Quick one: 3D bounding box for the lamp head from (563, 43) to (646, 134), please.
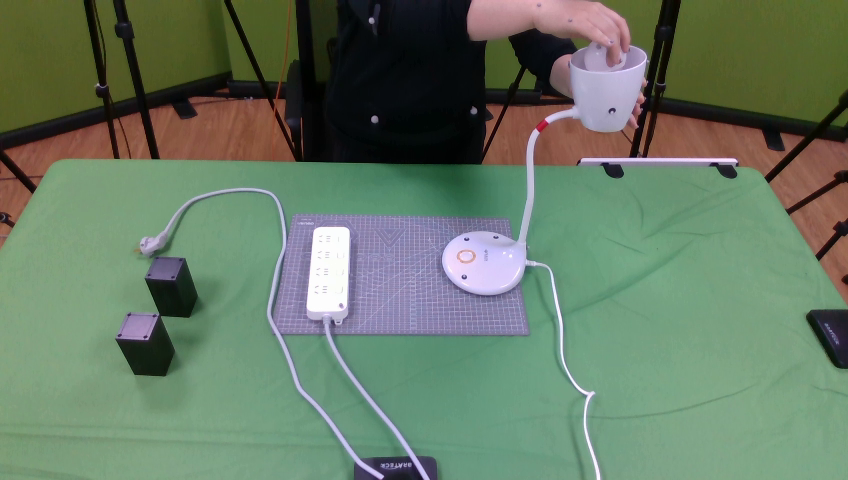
[{"bbox_3d":[0.274,-0.226,0.932,0.112,0.123,0.112,-2,37,2],"label":"lamp head"}]

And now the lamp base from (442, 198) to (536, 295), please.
[{"bbox_3d":[0.130,-0.012,1.105,0.179,0.181,0.159,-1,46,-9],"label":"lamp base"}]

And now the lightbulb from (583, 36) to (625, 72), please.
[{"bbox_3d":[0.272,-0.253,0.915,0.059,0.108,0.059,-9,34,7],"label":"lightbulb"}]

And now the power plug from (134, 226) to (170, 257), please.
[{"bbox_3d":[-0.515,0.006,1.153,0.052,0.035,0.072,-6,24,6],"label":"power plug"}]

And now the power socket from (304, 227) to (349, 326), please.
[{"bbox_3d":[-0.177,0.059,1.115,0.072,0.033,0.225,-1,46,-4],"label":"power socket"}]
